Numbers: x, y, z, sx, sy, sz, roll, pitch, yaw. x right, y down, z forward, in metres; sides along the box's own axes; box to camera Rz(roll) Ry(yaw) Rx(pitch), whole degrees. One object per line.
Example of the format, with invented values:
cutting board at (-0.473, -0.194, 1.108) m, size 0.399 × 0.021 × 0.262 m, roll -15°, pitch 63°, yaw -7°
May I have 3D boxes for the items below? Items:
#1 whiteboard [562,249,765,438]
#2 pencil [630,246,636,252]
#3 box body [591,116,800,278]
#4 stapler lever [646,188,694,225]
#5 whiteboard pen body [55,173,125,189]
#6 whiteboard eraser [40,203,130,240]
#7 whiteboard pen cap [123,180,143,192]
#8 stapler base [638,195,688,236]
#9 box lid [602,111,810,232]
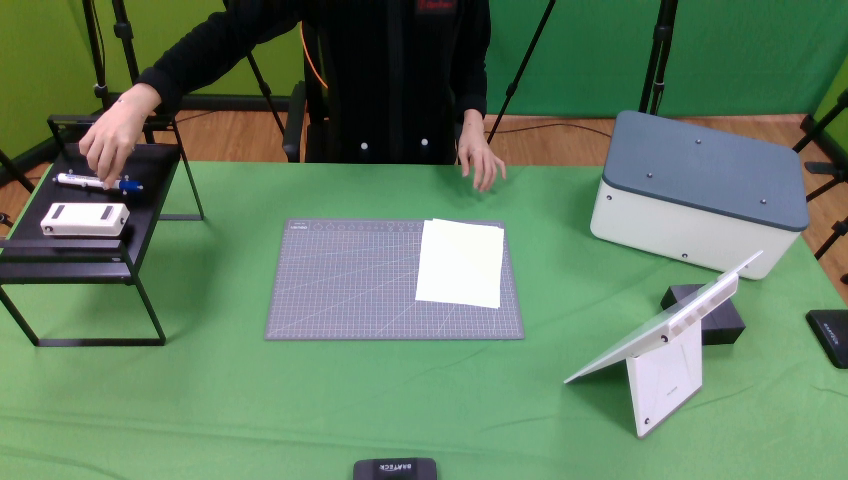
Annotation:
whiteboard at (0.386, 0.175, 0.905) m, size 0.217 × 0.306 × 0.143 m, roll -26°, pitch 72°, yaw -26°
pencil at (0.431, -0.060, 1.284) m, size 0.012 × 0.012 × 0.193 m, roll 4°, pitch 58°, yaw -1°
box body at (0.540, -0.092, 1.229) m, size 0.363 × 0.161 × 0.253 m, roll 16°, pitch 47°, yaw 11°
stapler lever at (0.515, -0.078, 1.265) m, size 0.027 × 0.040 × 0.117 m, roll -2°, pitch 42°, yaw -29°
whiteboard pen body at (-0.539, -0.095, 0.998) m, size 0.141 × 0.017 × 0.017 m, roll 6°, pitch 46°, yaw 6°
whiteboard eraser at (-0.513, -0.028, 0.922) m, size 0.113 × 0.042 × 0.055 m, roll 1°, pitch 48°, yaw -3°
whiteboard pen cap at (-0.479, -0.089, 0.993) m, size 0.033 × 0.018 × 0.018 m, roll 7°, pitch 46°, yaw 14°
stapler base at (0.509, -0.059, 1.278) m, size 0.041 × 0.024 × 0.129 m, roll -2°, pitch 40°, yaw -29°
box lid at (0.545, -0.143, 1.176) m, size 0.371 × 0.015 × 0.262 m, roll 15°, pitch 47°, yaw 11°
